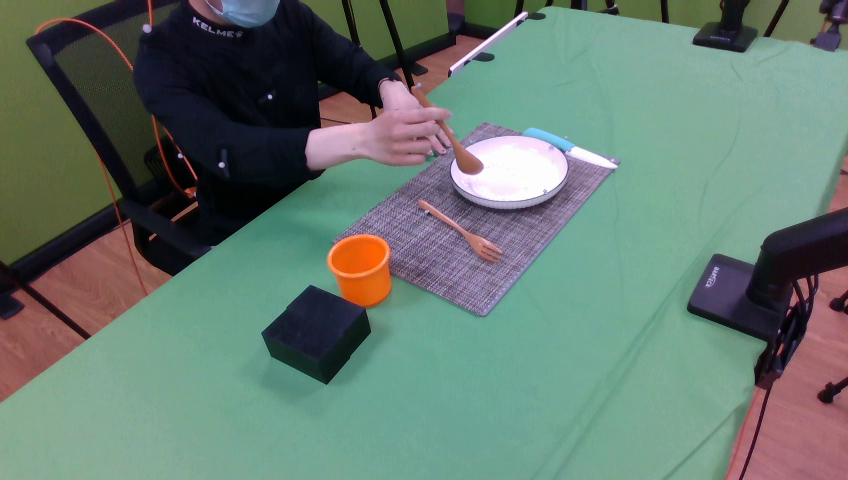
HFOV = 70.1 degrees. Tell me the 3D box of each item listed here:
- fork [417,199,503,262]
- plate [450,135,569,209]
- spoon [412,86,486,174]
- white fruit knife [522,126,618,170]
[{"bbox_3d":[0.053,-0.021,0.981,0.019,0.028,0.205,2,26,-41],"label":"fork"},{"bbox_3d":[0.149,-0.117,1.065,0.209,0.038,0.208,-3,41,3],"label":"plate"},{"bbox_3d":[0.038,-0.167,0.942,0.041,0.195,0.021,-21,38,29],"label":"spoon"},{"bbox_3d":[0.272,-0.172,1.132,0.205,0.016,0.027,32,82,34],"label":"white fruit knife"}]
